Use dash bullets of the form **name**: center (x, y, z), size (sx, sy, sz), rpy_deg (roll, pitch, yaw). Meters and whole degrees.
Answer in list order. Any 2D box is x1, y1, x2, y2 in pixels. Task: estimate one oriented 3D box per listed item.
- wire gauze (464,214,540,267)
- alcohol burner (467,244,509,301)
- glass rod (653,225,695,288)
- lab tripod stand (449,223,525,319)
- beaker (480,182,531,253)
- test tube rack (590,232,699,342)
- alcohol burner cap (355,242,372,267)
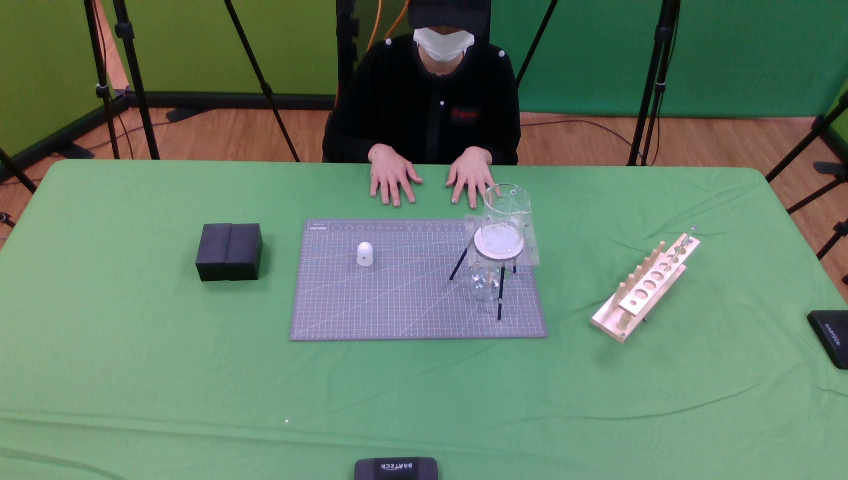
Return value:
- **wire gauze**: center (0.131, -0.001, 1.035), size (0.121, 0.011, 0.124), rpy_deg (1, 44, -2)
- **alcohol burner**: center (0.116, 0.053, 1.087), size (0.078, 0.120, 0.077), rpy_deg (1, 44, -1)
- **glass rod**: center (0.432, 0.037, 1.057), size (0.008, 0.200, 0.008), rpy_deg (1, 54, -1)
- **lab tripod stand**: center (0.120, 0.046, 1.080), size (0.148, 0.132, 0.147), rpy_deg (1, 47, -1)
- **beaker**: center (0.133, -0.033, 0.998), size (0.083, 0.101, 0.074), rpy_deg (26, 51, 22)
- **test tube rack**: center (0.407, 0.074, 1.112), size (0.066, 0.085, 0.242), rpy_deg (35, 53, 26)
- **alcohol burner cap**: center (-0.114, 0.024, 1.147), size (0.034, 0.048, 0.033), rpy_deg (2, 45, -2)
